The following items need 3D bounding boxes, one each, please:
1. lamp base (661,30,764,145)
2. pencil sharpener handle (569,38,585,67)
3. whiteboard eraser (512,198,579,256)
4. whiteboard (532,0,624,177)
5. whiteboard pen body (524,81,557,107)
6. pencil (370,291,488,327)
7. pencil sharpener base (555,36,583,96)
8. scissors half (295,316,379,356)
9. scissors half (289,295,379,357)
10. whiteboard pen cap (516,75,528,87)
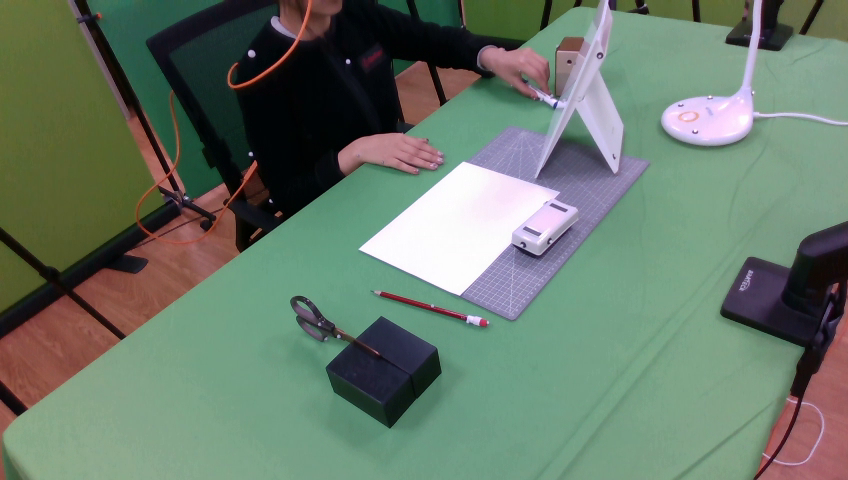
[{"bbox_3d":[0.535,-0.287,1.096,0.179,0.181,0.159,-10,40,-4],"label":"lamp base"},{"bbox_3d":[0.332,-0.413,1.317,0.036,0.068,0.030,20,47,12],"label":"pencil sharpener handle"},{"bbox_3d":[0.191,-0.019,0.948,0.055,0.042,0.113,26,51,36],"label":"whiteboard eraser"},{"bbox_3d":[0.319,-0.258,1.050,0.144,0.306,0.217,21,45,4],"label":"whiteboard"},{"bbox_3d":[0.248,-0.321,1.312,0.017,0.017,0.139,-23,44,-16],"label":"whiteboard pen body"},{"bbox_3d":[0.003,0.097,0.877,0.193,0.012,0.012,13,45,26],"label":"pencil"},{"bbox_3d":[0.318,-0.371,1.290,0.061,0.107,0.076,10,44,22],"label":"pencil sharpener base"},{"bbox_3d":[-0.119,0.131,0.813,0.174,0.040,0.013,9,34,45],"label":"scissors half"},{"bbox_3d":[-0.122,0.114,0.803,0.174,0.040,0.013,26,50,32],"label":"scissors half"},{"bbox_3d":[0.221,-0.355,1.352,0.018,0.018,0.033,-23,46,-16],"label":"whiteboard pen cap"}]
